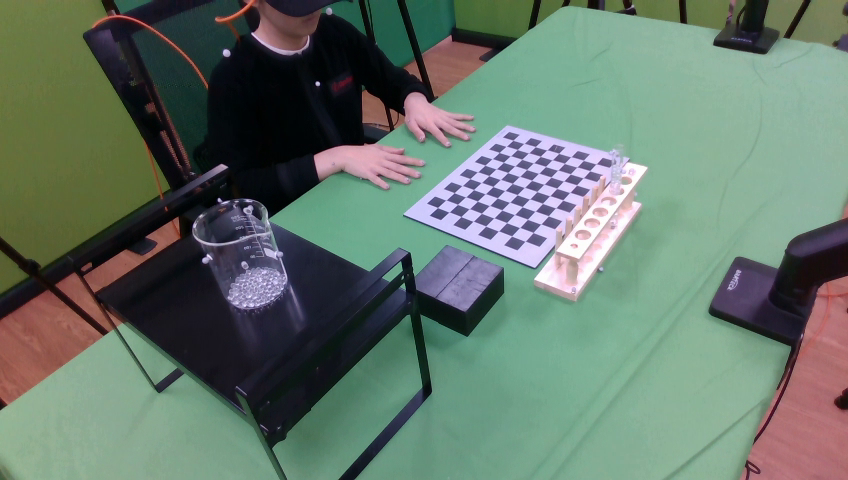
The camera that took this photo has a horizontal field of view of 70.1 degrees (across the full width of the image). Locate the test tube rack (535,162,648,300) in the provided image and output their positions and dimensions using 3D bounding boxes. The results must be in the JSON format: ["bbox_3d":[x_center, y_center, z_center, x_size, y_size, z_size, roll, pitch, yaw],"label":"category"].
[{"bbox_3d":[0.257,-0.024,0.916,0.066,0.085,0.243,22,49,30],"label":"test tube rack"}]

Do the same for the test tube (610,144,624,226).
[{"bbox_3d":[0.286,-0.078,0.898,0.017,0.151,0.017,-7,44,7],"label":"test tube"}]

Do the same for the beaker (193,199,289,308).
[{"bbox_3d":[-0.188,0.018,0.646,0.083,0.101,0.074,9,43,17],"label":"beaker"}]
